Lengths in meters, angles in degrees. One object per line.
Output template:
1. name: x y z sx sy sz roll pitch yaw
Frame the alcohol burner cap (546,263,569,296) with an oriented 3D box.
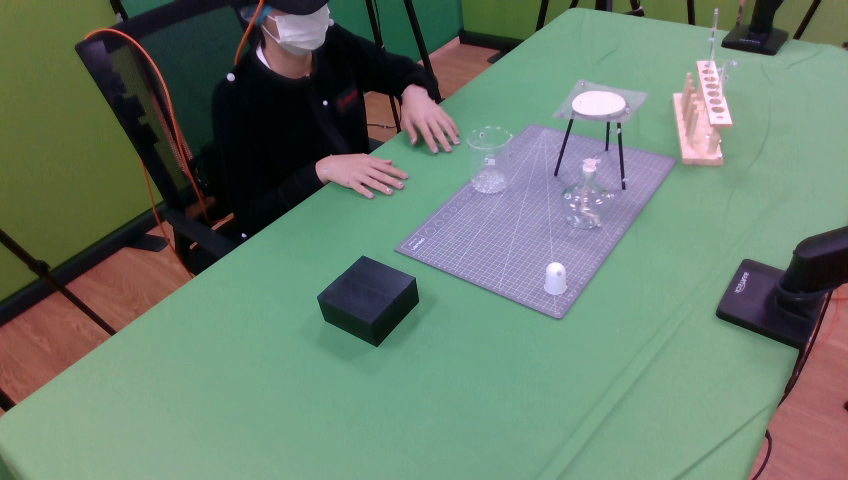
1. alcohol burner cap: 0.191 0.053 0.862 0.034 0.048 0.033 -5 40 4

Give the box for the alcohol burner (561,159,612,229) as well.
1. alcohol burner: 0.257 -0.077 0.951 0.078 0.119 0.077 -3 40 3

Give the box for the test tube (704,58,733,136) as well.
1. test tube: 0.516 -0.247 1.062 0.017 0.151 0.017 -3 43 4

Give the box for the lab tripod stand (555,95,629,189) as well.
1. lab tripod stand: 0.300 -0.174 1.045 0.148 0.132 0.147 -5 38 5

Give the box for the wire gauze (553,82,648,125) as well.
1. wire gauze: 0.293 -0.226 1.002 0.120 0.011 0.125 17 45 27

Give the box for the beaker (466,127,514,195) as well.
1. beaker: 0.117 -0.136 1.056 0.084 0.101 0.073 -9 40 -3

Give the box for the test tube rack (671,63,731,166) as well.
1. test tube rack: 0.513 -0.240 1.132 0.066 0.085 0.242 4 41 14

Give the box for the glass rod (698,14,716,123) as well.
1. glass rod: 0.532 -0.320 1.136 0.008 0.200 0.008 3 12 0
